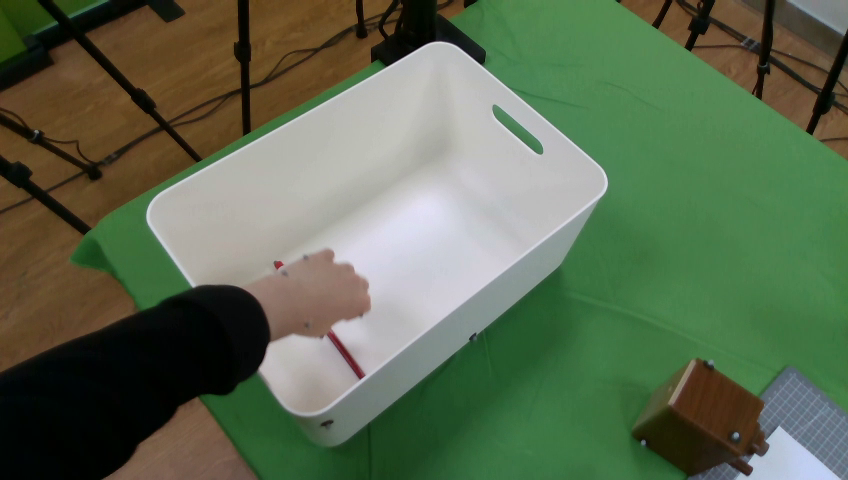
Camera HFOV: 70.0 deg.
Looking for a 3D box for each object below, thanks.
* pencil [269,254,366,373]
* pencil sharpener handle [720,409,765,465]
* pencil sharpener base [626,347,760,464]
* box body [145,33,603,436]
[{"bbox_3d":[-0.108,0.083,0.642,0.012,0.012,0.192,-35,68,-20],"label":"pencil"},{"bbox_3d":[0.292,0.181,0.546,0.030,0.068,0.036,34,58,15],"label":"pencil sharpener handle"},{"bbox_3d":[0.251,0.159,0.570,0.076,0.108,0.061,34,64,15],"label":"pencil sharpener base"},{"bbox_3d":[-0.040,-0.010,0.619,0.364,0.161,0.252,-36,68,-21],"label":"box body"}]
